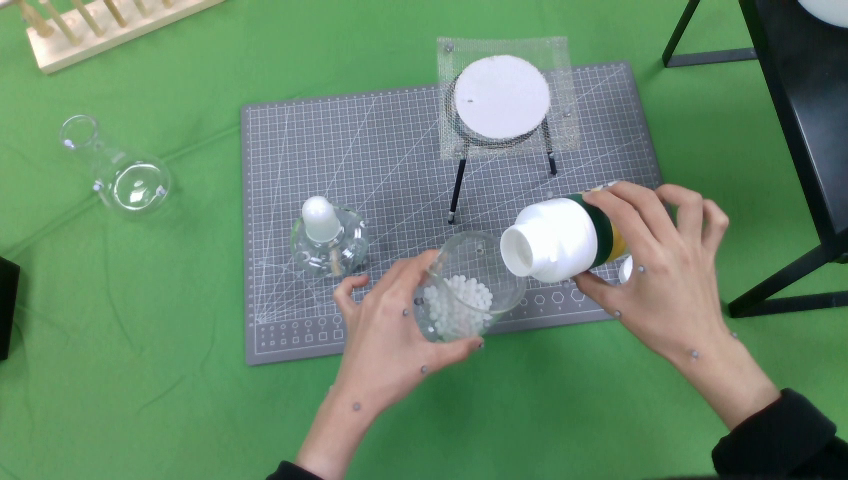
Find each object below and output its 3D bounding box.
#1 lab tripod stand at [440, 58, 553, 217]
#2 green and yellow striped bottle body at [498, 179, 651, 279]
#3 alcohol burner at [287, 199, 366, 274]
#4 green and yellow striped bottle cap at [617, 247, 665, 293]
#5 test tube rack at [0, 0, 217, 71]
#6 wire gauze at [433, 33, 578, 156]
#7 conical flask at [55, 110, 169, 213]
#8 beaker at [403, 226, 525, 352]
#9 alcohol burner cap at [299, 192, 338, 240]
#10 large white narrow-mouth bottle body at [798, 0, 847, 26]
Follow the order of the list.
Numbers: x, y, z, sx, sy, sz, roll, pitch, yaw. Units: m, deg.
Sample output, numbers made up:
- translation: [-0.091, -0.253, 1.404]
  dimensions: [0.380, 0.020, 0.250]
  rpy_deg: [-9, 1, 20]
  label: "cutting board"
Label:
- translation: [0.065, -0.104, 0.599]
  dimensions: [0.148, 0.132, 0.147]
  rpy_deg: [0, 68, 0]
  label: "lab tripod stand"
- translation: [0.116, -0.008, 0.478]
  dimensions: [0.120, 0.063, 0.062]
  rpy_deg: [-16, 68, -30]
  label: "green and yellow striped bottle body"
- translation: [-0.096, -0.010, 0.580]
  dimensions: [0.078, 0.120, 0.077]
  rpy_deg: [0, 68, 0]
  label: "alcohol burner"
- translation: [0.218, 0.030, 0.609]
  dimensions: [0.045, 0.020, 0.045]
  rpy_deg: [-1, 70, 4]
  label: "green and yellow striped bottle cap"
- translation: [-0.362, -0.295, 0.706]
  dimensions: [0.242, 0.086, 0.066]
  rpy_deg: [-26, 71, -8]
  label: "test tube rack"
- translation: [0.070, -0.133, 0.537]
  dimensions: [0.121, 0.011, 0.124]
  rpy_deg: [-1, 70, -1]
  label: "wire gauze"
- translation: [-0.317, -0.082, 0.609]
  dimensions: [0.075, 0.122, 0.075]
  rpy_deg: [-1, 69, 2]
  label: "conical flask"
- translation: [0.026, 0.046, 0.508]
  dimensions: [0.084, 0.101, 0.073]
  rpy_deg: [6, 57, -18]
  label: "beaker"
- translation: [-0.097, -0.025, 0.546]
  dimensions: [0.034, 0.048, 0.033]
  rpy_deg: [0, 63, -1]
  label: "alcohol burner cap"
- translation: [0.352, -0.253, 0.425]
  dimensions: [0.102, 0.196, 0.101]
  rpy_deg: [0, 68, 1]
  label: "large white narrow-mouth bottle body"
